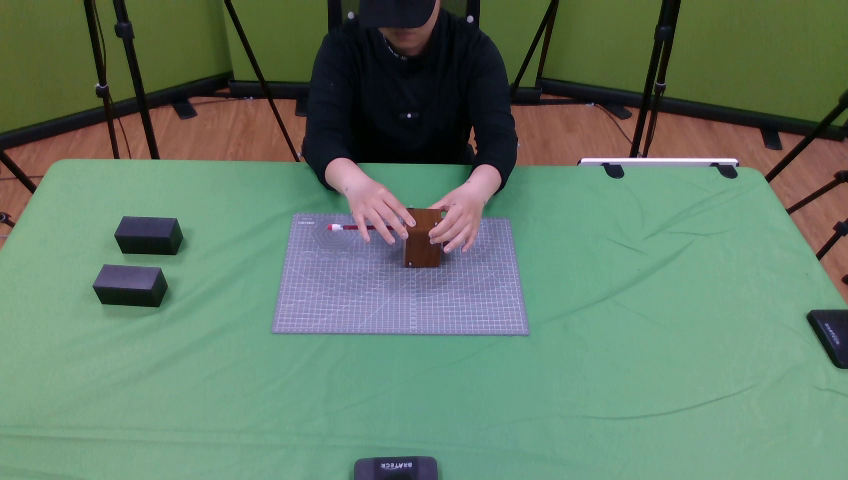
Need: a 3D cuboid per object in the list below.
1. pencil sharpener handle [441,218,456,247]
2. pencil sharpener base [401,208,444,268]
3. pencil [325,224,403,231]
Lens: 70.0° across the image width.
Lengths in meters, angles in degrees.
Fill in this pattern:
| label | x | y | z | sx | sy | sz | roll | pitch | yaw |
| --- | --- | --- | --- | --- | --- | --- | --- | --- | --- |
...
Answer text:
| label | x | y | z | sx | sy | sz | roll | pitch | yaw |
| --- | --- | --- | --- | --- | --- | --- | --- | --- | --- |
| pencil sharpener handle | 0.048 | -0.012 | 1.133 | 0.031 | 0.068 | 0.036 | 0 | 48 | -5 |
| pencil sharpener base | -0.003 | -0.002 | 1.137 | 0.077 | 0.107 | 0.061 | 0 | 46 | -5 |
| pencil | -0.083 | -0.023 | 1.111 | 0.194 | 0.012 | 0.012 | 0 | 46 | -6 |
